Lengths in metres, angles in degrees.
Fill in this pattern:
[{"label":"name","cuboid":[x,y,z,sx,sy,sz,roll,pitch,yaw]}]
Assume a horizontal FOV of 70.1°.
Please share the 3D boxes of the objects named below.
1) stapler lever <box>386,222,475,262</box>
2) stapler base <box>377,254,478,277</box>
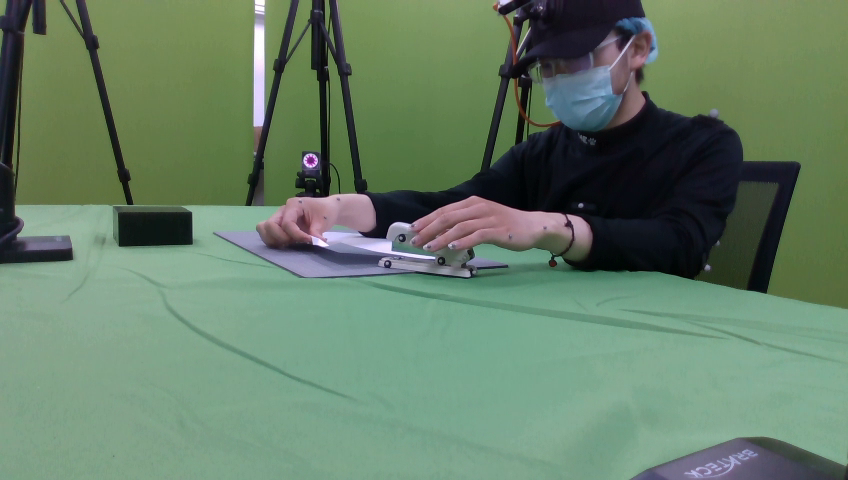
[{"label":"stapler lever","cuboid":[0.007,0.002,0.773,0.117,0.040,0.027,8,10,22]},{"label":"stapler base","cuboid":[0.003,0.027,0.776,0.130,0.024,0.041,7,10,22]}]
